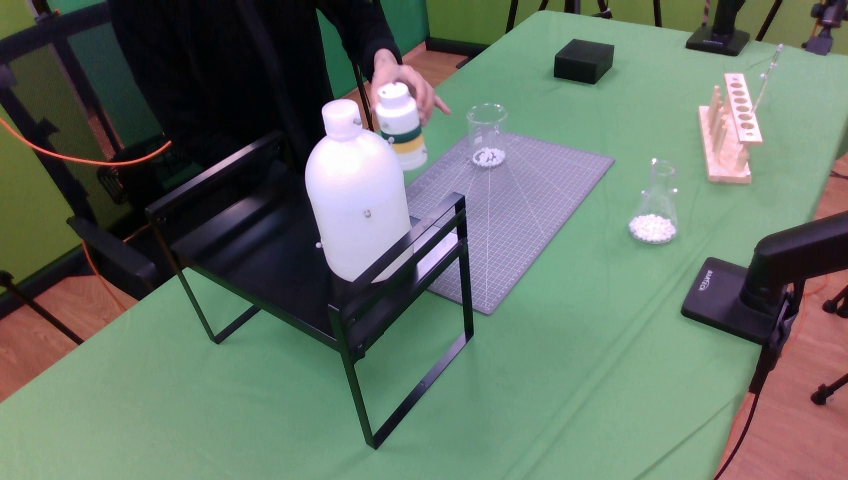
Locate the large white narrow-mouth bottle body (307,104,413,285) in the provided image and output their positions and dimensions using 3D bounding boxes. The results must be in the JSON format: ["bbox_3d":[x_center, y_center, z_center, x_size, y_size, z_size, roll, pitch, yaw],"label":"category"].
[{"bbox_3d":[-0.069,-0.051,0.638,0.102,0.195,0.101,-3,40,3],"label":"large white narrow-mouth bottle body"}]

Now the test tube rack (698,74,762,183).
[{"bbox_3d":[0.547,-0.208,1.095,0.066,0.085,0.242,5,42,15],"label":"test tube rack"}]

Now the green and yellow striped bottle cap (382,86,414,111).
[{"bbox_3d":[-0.039,-0.207,0.883,0.045,0.020,0.045,-8,40,7],"label":"green and yellow striped bottle cap"}]

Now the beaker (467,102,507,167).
[{"bbox_3d":[0.121,-0.195,1.124,0.084,0.101,0.073,-34,48,-28],"label":"beaker"}]

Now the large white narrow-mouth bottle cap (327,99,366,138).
[{"bbox_3d":[-0.075,-0.117,0.582,0.038,0.024,0.037,-3,40,3],"label":"large white narrow-mouth bottle cap"}]

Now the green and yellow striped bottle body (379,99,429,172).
[{"bbox_3d":[-0.032,-0.169,0.917,0.063,0.120,0.063,-6,40,6],"label":"green and yellow striped bottle body"}]

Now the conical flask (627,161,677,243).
[{"bbox_3d":[0.355,-0.061,0.921,0.075,0.122,0.075,-4,41,4],"label":"conical flask"}]

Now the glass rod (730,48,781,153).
[{"bbox_3d":[0.554,-0.228,1.015,0.008,0.200,0.008,1,44,-1],"label":"glass rod"}]
